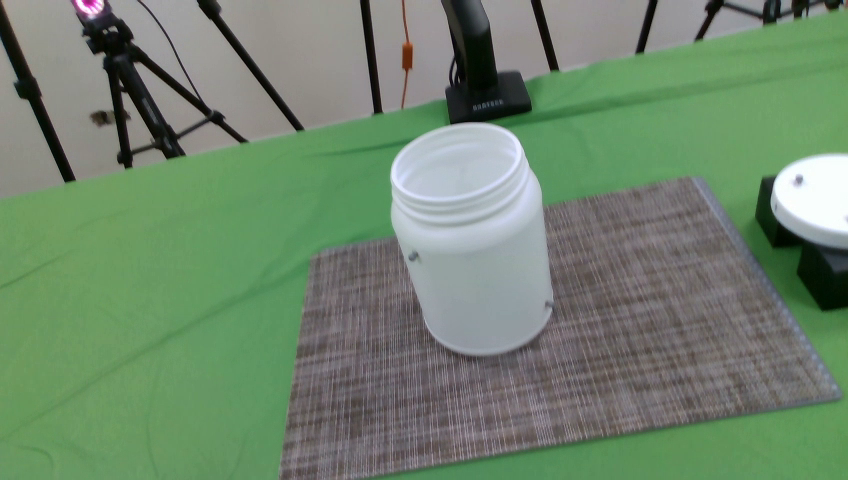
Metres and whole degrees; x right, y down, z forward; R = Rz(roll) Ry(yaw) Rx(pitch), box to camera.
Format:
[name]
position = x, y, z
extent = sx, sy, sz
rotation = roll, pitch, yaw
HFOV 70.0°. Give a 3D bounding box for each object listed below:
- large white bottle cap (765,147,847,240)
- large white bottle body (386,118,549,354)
[large white bottle cap]
position = 0.367, -0.044, 0.536
extent = 0.115, 0.018, 0.113
rotation = -9, 41, 9
[large white bottle body]
position = 0.041, -0.002, 0.542
extent = 0.130, 0.186, 0.129
rotation = -9, 41, 8
